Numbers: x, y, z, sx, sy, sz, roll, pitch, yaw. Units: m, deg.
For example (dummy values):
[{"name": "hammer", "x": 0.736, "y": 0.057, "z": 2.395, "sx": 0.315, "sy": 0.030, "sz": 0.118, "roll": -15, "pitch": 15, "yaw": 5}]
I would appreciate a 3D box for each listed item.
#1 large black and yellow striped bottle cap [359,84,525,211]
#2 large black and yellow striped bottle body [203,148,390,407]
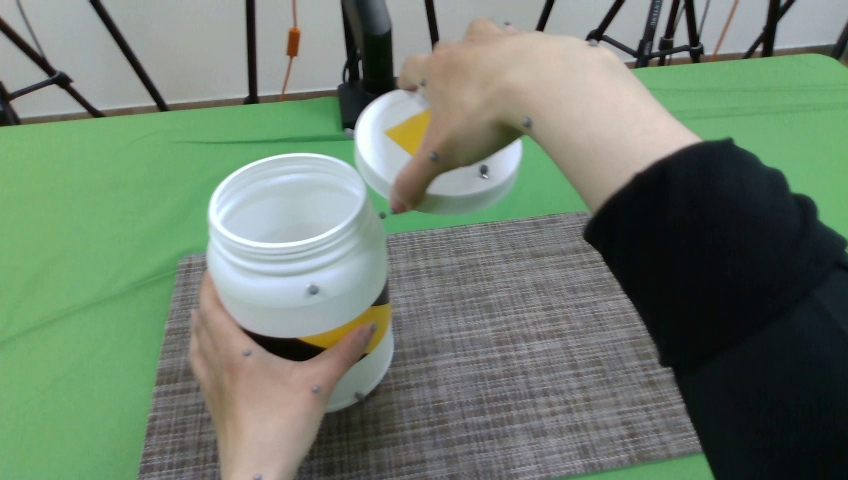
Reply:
[{"name": "large black and yellow striped bottle cap", "x": 0.013, "y": -0.068, "z": 0.420, "sx": 0.115, "sy": 0.019, "sz": 0.114, "roll": 2, "pitch": 50, "yaw": -3}, {"name": "large black and yellow striped bottle body", "x": -0.097, "y": 0.032, "z": 0.484, "sx": 0.131, "sy": 0.185, "sz": 0.129, "roll": 0, "pitch": 43, "yaw": 1}]
